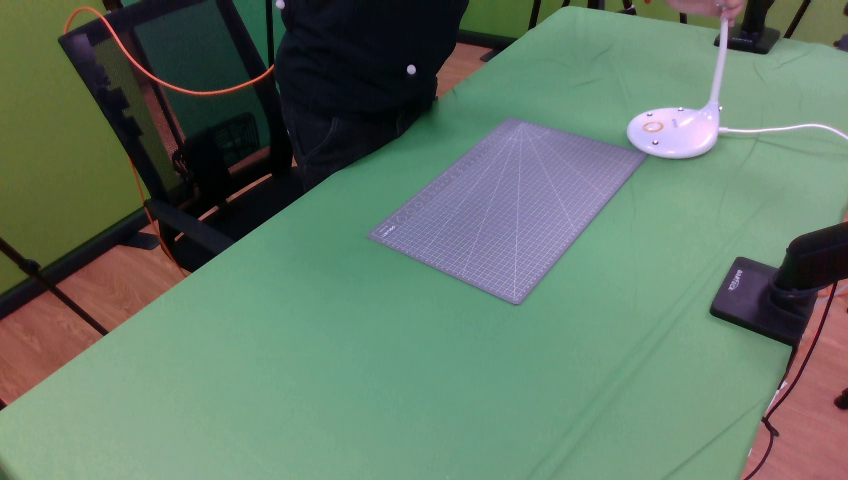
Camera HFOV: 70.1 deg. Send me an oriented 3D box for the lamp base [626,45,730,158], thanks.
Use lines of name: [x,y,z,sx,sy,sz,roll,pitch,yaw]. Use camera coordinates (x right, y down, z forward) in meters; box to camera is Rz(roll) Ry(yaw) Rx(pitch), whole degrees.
lamp base: [0.468,-0.262,1.085,0.179,0.181,0.159,-4,41,0]
